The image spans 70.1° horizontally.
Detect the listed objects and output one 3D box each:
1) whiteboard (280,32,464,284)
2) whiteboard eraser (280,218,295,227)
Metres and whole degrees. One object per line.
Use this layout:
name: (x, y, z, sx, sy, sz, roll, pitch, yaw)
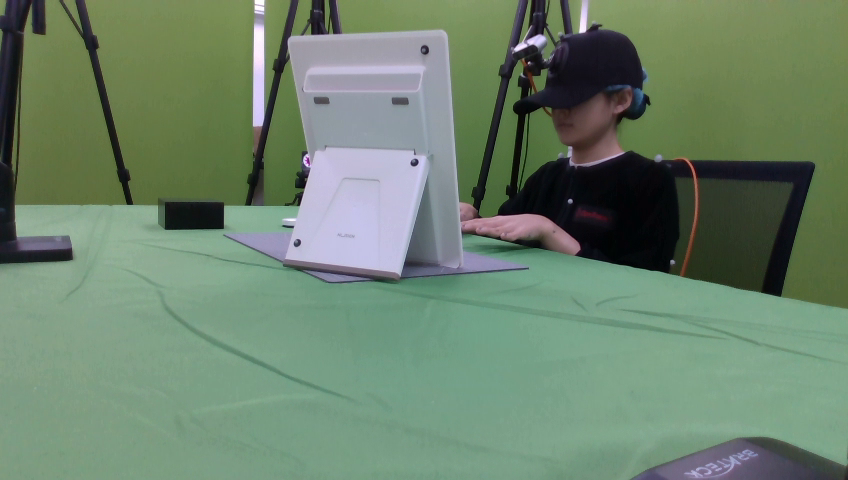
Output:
whiteboard: (-0.086, -0.080, 0.728, 0.216, 0.305, 0.144, 7, 28, 24)
whiteboard eraser: (-0.242, -0.036, 1.228, 0.102, 0.019, 0.041, 0, 7, -33)
